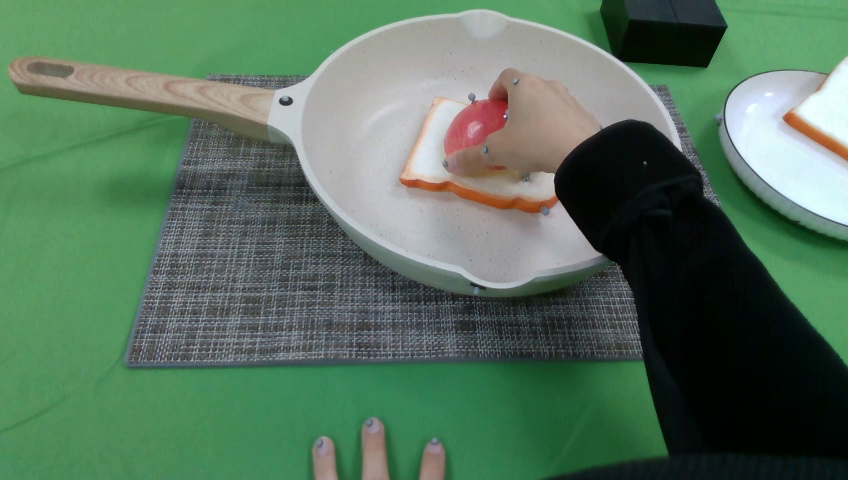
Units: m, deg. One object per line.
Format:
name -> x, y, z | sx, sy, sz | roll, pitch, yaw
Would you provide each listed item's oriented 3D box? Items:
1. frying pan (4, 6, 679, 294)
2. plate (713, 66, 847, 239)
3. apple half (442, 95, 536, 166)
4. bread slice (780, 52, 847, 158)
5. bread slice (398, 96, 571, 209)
frying pan -> -0.056, -0.091, 0.468 | 0.489, 0.103, 0.304 | 9, 51, -8
plate -> 0.359, -0.076, 0.539 | 0.208, 0.039, 0.205 | 3, 52, -3
apple half -> 0.051, -0.095, 0.492 | 0.081, 0.033, 0.080 | -4, 46, 4
bread slice -> 0.418, -0.133, 0.562 | 0.131, 0.019, 0.104 | -44, 67, -8
bread slice -> 0.056, -0.073, 0.514 | 0.134, 0.018, 0.106 | 12, 53, 6
